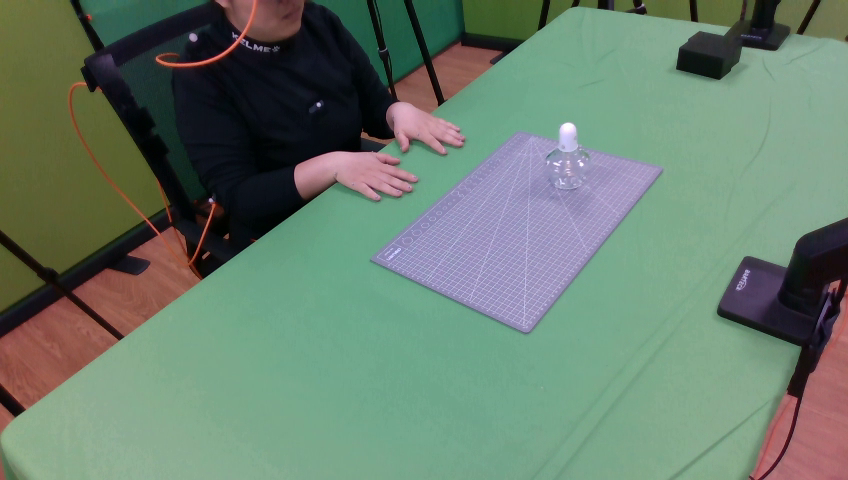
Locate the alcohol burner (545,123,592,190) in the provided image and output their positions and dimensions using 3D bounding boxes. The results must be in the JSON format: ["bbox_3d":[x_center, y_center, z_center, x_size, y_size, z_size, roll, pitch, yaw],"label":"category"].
[{"bbox_3d":[0.247,-0.146,1.034,0.078,0.120,0.077,-7,41,6],"label":"alcohol burner"}]

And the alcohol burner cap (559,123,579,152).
[{"bbox_3d":[0.241,-0.173,1.010,0.034,0.048,0.033,-8,44,8],"label":"alcohol burner cap"}]
